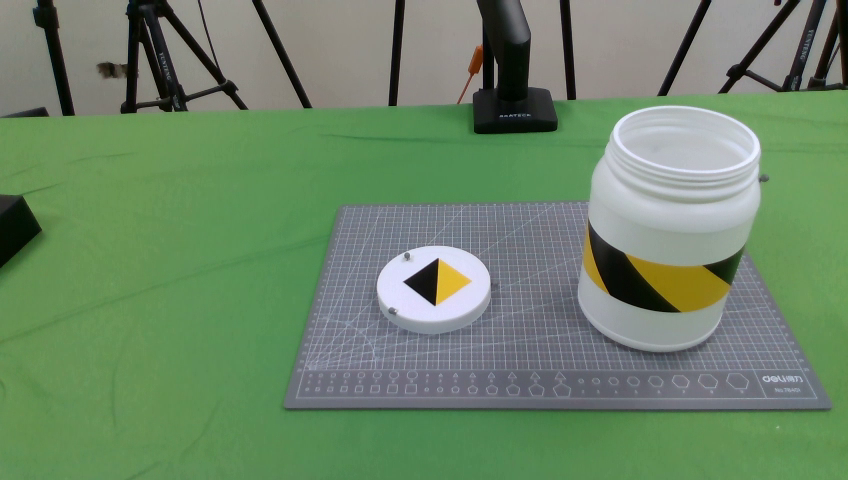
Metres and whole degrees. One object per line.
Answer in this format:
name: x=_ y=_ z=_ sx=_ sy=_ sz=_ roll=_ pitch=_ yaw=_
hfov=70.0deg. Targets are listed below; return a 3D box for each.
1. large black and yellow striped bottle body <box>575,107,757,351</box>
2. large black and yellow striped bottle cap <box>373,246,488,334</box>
large black and yellow striped bottle body: x=0.205 y=-0.009 z=0.527 sx=0.131 sy=0.185 sz=0.129 roll=-2 pitch=39 yaw=2
large black and yellow striped bottle cap: x=0.006 y=0.047 z=0.609 sx=0.115 sy=0.019 sz=0.114 roll=-1 pitch=39 yaw=1
